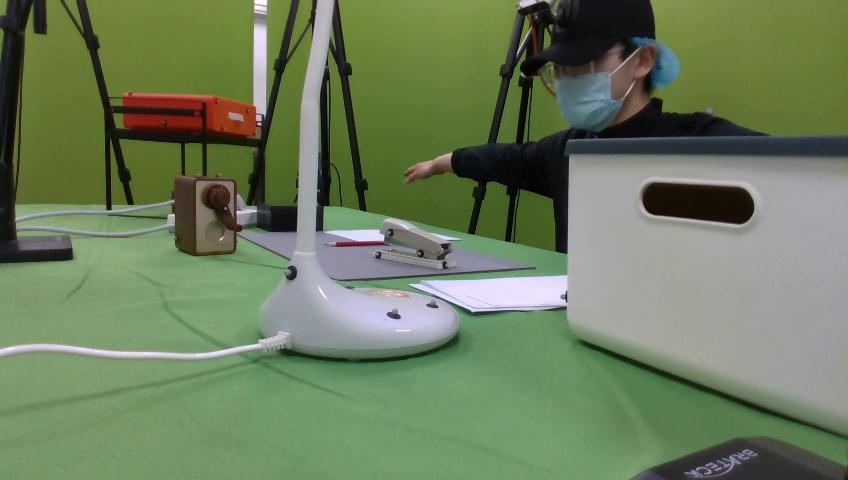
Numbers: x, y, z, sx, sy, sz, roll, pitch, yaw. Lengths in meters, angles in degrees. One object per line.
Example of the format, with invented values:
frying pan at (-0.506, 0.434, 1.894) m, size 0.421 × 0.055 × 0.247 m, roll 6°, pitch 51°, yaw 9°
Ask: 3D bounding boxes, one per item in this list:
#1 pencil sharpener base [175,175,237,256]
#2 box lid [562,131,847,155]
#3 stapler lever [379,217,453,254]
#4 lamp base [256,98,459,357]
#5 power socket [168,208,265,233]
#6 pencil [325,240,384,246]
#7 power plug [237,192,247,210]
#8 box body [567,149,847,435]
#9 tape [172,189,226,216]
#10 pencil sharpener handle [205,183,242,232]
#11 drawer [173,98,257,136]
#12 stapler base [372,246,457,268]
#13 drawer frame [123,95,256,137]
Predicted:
pencil sharpener base at (-0.304, -0.036, 0.847) m, size 0.062 × 0.107 × 0.076 m, roll -4°, pitch 10°, yaw -42°
box lid at (0.322, -0.064, 0.463) m, size 0.373 × 0.015 × 0.262 m, roll -2°, pitch 9°, yaw -31°
stapler lever at (-0.014, -0.007, 0.827) m, size 0.117 × 0.040 × 0.027 m, roll 9°, pitch 11°, yaw 39°
lamp base at (-0.055, -0.013, 0.463) m, size 0.160 × 0.180 × 0.180 m, roll 6°, pitch 11°, yaw 27°
power socket at (-0.381, -0.038, 1.129) m, size 0.072 × 0.032 × 0.227 m, roll 4°, pitch 8°, yaw 17°
pencil at (-0.066, 0.003, 0.979) m, size 0.195 × 0.012 × 0.012 m, roll -3°, pitch 9°, yaw -25°
power plug at (-0.386, -0.071, 1.204) m, size 0.072 × 0.052 × 0.035 m, roll 7°, pitch 9°, yaw 26°
box body at (0.318, 0.009, 0.471) m, size 0.366 × 0.160 × 0.253 m, roll -2°, pitch 8°, yaw -31°
tape at (-0.515, -0.087, 1.388) m, size 0.117 × 0.052 × 0.117 m, roll 3°, pitch 8°, yaw 0°
pencil sharpener handle at (-0.265, -0.043, 0.812) m, size 0.036 × 0.068 × 0.030 m, roll -31°, pitch 27°, yaw -35°
drawer at (-0.518, -0.279, 1.376) m, size 0.211 × 0.073 × 0.195 m, roll 3°, pitch 8°, yaw 9°
stapler base at (-0.016, 0.017, 0.831) m, size 0.130 × 0.024 × 0.041 m, roll 10°, pitch 12°, yaw 39°
drawer frame at (-0.524, -0.281, 1.376) m, size 0.213 × 0.082 × 0.202 m, roll 3°, pitch 8°, yaw 8°
